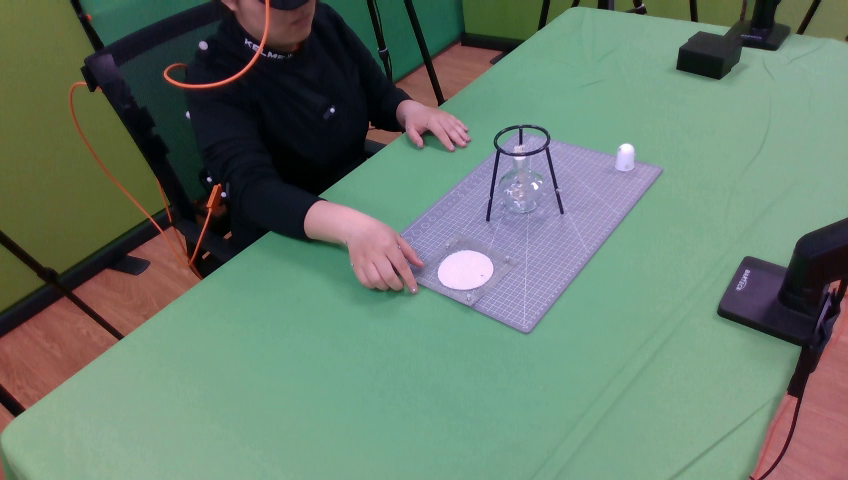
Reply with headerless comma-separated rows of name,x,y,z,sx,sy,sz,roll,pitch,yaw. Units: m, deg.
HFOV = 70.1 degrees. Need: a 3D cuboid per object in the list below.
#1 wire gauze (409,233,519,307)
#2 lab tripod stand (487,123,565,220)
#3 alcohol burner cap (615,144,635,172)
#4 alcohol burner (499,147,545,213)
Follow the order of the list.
wire gauze,0.061,0.045,0.925,0.120,0.011,0.125,25,52,35
lab tripod stand,0.162,-0.110,0.992,0.148,0.132,0.147,-5,42,5
alcohol burner cap,0.357,-0.147,1.069,0.034,0.048,0.033,-6,40,6
alcohol burner,0.161,-0.104,1.001,0.078,0.120,0.077,-6,42,6
